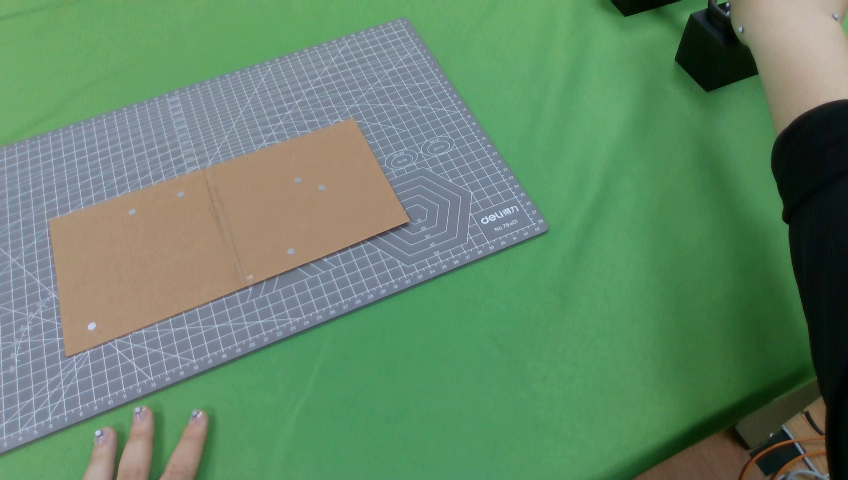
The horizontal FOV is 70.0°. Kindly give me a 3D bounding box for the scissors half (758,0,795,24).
[{"bbox_3d":[0.271,-0.254,0.556,0.040,0.013,0.173,-24,62,-23],"label":"scissors half"}]

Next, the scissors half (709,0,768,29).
[{"bbox_3d":[0.252,-0.249,0.549,0.040,0.013,0.173,-5,55,-18],"label":"scissors half"}]

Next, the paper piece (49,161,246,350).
[{"bbox_3d":[-0.222,0.004,0.479,0.138,0.009,0.134,-22,55,-9],"label":"paper piece"}]

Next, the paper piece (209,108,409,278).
[{"bbox_3d":[-0.099,-0.046,0.502,0.135,0.004,0.134,-22,57,-9],"label":"paper piece"}]
